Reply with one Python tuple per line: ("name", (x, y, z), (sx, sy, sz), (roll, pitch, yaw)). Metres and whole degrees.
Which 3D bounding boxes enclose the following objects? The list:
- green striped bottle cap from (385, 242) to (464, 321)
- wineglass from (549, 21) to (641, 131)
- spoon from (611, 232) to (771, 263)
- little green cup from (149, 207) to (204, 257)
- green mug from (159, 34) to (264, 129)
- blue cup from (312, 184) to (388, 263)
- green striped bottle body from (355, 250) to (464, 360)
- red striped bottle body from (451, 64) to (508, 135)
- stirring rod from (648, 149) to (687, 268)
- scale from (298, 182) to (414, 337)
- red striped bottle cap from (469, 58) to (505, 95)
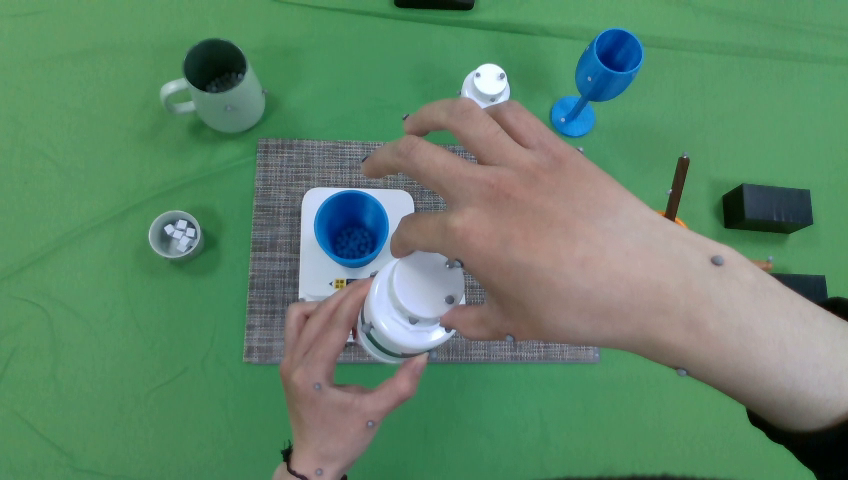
("green striped bottle cap", (0.000, 0.024, 0.352), (0.044, 0.020, 0.044), (4, 71, -11))
("wineglass", (0.221, -0.211, 0.801), (0.074, 0.173, 0.073), (1, 75, -5))
("spoon", (0.332, 0.015, 0.770), (0.022, 0.192, 0.041), (22, 78, -45))
("little green cup", (-0.310, -0.007, 0.766), (0.062, 0.039, 0.061), (2, 75, -7))
("green mug", (-0.276, -0.197, 0.783), (0.125, 0.105, 0.092), (-21, 79, -10))
("blue cup", (-0.087, -0.011, 0.723), (0.093, 0.100, 0.092), (1, 78, -5))
("green striped bottle body", (-0.011, 0.045, 0.415), (0.063, 0.119, 0.063), (3, 72, -11))
("red striped bottle body", (0.074, -0.192, 0.810), (0.063, 0.120, 0.062), (1, 76, -6))
("stirring rod", (0.312, -0.036, 0.781), (0.014, 0.177, 0.006), (6, 35, 9))
("scale", (-0.087, 0.023, 0.782), (0.149, 0.031, 0.200), (0, 77, -6))
("red striped bottle cap", (0.079, -0.205, 0.758), (0.044, 0.018, 0.044), (2, 73, -5))
